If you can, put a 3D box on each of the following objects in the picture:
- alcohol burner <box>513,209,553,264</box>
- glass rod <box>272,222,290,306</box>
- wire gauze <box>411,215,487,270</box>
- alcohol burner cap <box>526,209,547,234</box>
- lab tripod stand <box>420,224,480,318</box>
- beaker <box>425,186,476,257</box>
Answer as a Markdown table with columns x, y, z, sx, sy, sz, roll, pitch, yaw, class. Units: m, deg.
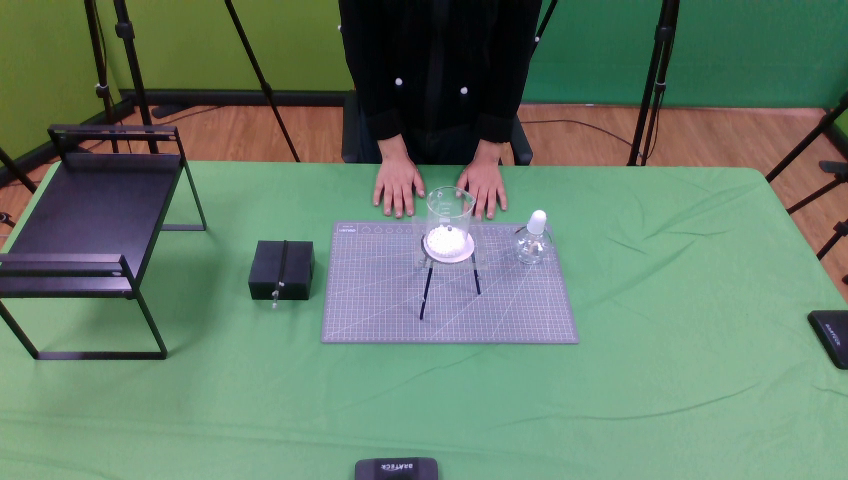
| x | y | z | sx | sy | sz | roll | pitch | yaw | class |
| --- | --- | --- | --- | --- | --- | --- | --- | --- | --- |
| 0.210 | -0.012 | 1.158 | 0.078 | 0.120 | 0.077 | 1 | 45 | -1 | alcohol burner |
| -0.255 | 0.039 | 1.084 | 0.008 | 0.008 | 0.198 | 1 | 46 | -3 | glass rod |
| 0.041 | 0.003 | 1.026 | 0.125 | 0.011 | 0.120 | 0 | 46 | -1 | wire gauze |
| 0.212 | -0.037 | 1.133 | 0.034 | 0.048 | 0.033 | 4 | 51 | -5 | alcohol burner cap |
| 0.034 | 0.051 | 1.070 | 0.148 | 0.132 | 0.147 | 3 | 48 | -3 | lab tripod stand |
| 0.041 | -0.028 | 0.989 | 0.084 | 0.101 | 0.073 | -12 | 48 | -15 | beaker |
